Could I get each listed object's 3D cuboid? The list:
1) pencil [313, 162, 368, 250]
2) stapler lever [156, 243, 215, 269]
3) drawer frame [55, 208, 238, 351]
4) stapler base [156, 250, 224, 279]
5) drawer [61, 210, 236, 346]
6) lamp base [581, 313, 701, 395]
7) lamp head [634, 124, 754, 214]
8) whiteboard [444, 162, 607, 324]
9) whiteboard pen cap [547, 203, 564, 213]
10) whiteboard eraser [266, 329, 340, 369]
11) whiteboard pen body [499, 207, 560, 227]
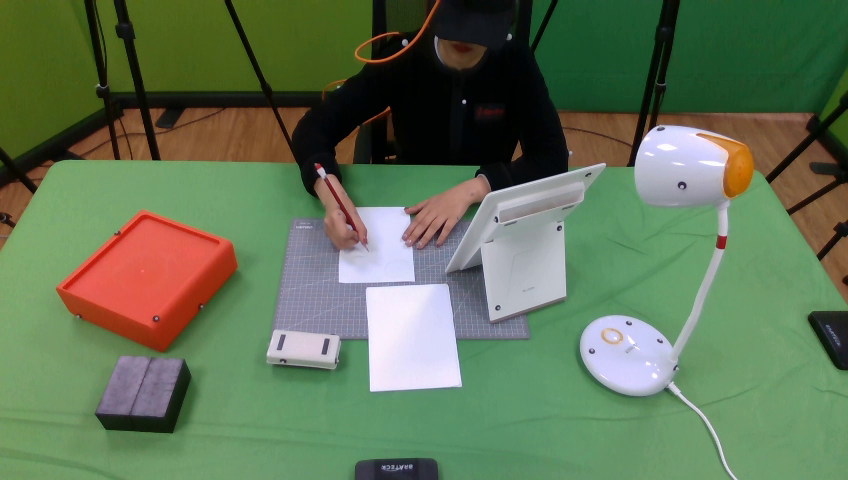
[{"bbox_3d":[-0.154,-0.061,1.140,0.012,0.194,0.012,-28,15,8],"label":"pencil"},{"bbox_3d":[-0.433,0.023,1.097,0.118,0.040,0.026,14,39,14],"label":"stapler lever"},{"bbox_3d":[-0.474,0.062,1.060,0.201,0.083,0.213,18,48,12],"label":"drawer frame"},{"bbox_3d":[-0.431,0.040,1.110,0.130,0.024,0.041,11,38,17],"label":"stapler base"},{"bbox_3d":[-0.474,0.061,1.062,0.194,0.073,0.211,19,48,13],"label":"drawer"},{"bbox_3d":[0.361,0.144,0.973,0.178,0.181,0.160,34,53,23],"label":"lamp base"},{"bbox_3d":[0.351,-0.089,0.776,0.112,0.113,0.122,-30,30,-28],"label":"lamp head"},{"bbox_3d":[0.186,0.025,1.029,0.217,0.306,0.143,-15,68,-18],"label":"whiteboard"},{"bbox_3d":[0.277,-0.066,1.275,0.033,0.018,0.018,-18,50,-15],"label":"whiteboard pen cap"},{"bbox_3d":[-0.198,0.181,0.994,0.113,0.042,0.055,5,45,1],"label":"whiteboard eraser"},{"bbox_3d":[0.222,-0.051,1.259,0.141,0.017,0.017,-15,49,-16],"label":"whiteboard pen body"}]
